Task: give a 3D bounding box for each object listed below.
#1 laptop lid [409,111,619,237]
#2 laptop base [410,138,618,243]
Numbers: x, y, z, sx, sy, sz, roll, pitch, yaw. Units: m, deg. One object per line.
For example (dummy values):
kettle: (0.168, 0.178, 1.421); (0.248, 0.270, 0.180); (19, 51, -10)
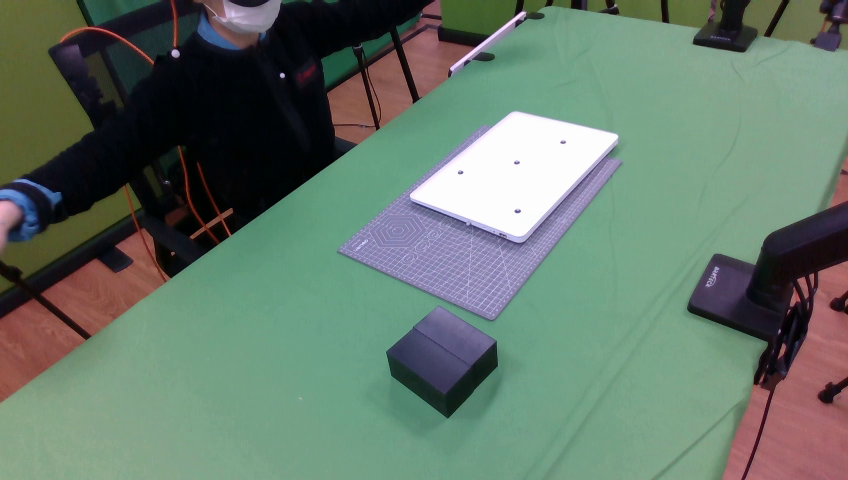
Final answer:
laptop lid: (0.168, -0.136, 1.089); (0.239, 0.013, 0.358); (23, 48, 34)
laptop base: (0.170, -0.126, 1.096); (0.233, 0.023, 0.355); (21, 47, 33)
